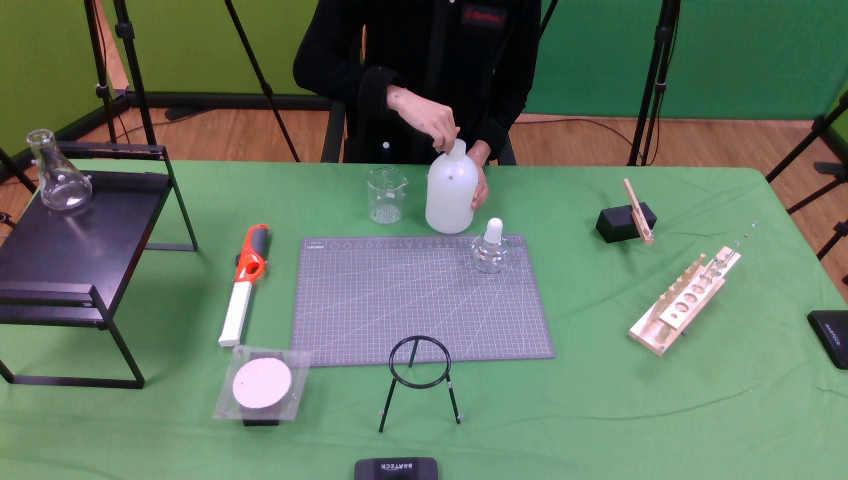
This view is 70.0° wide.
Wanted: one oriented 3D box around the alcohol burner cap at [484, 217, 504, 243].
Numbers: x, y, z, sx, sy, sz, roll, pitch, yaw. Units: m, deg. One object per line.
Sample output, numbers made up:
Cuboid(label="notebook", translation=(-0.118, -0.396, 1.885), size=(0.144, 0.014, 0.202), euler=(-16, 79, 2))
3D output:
Cuboid(label="alcohol burner cap", translation=(0.130, -0.021, 1.107), size=(0.034, 0.048, 0.033), euler=(4, 41, -3))

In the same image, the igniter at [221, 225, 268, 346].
Cuboid(label="igniter", translation=(-0.323, 0.072, 1.100), size=(0.057, 0.025, 0.274), euler=(-6, 45, 5))

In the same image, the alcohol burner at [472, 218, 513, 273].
Cuboid(label="alcohol burner", translation=(0.128, 0.005, 1.132), size=(0.078, 0.120, 0.077), euler=(0, 47, 0))

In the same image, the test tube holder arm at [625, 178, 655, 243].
Cuboid(label="test tube holder arm", translation=(0.433, -0.062, 1.220), size=(0.013, 0.015, 0.177), euler=(1, 47, -3))

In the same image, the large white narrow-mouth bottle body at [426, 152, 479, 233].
Cuboid(label="large white narrow-mouth bottle body", translation=(0.057, -0.111, 1.187), size=(0.102, 0.195, 0.101), euler=(2, 46, -2))

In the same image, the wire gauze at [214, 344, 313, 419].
Cuboid(label="wire gauze", translation=(-0.241, 0.213, 0.915), size=(0.121, 0.011, 0.124), euler=(5, 46, 1))

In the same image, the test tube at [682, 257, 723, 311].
Cuboid(label="test tube", translation=(0.475, 0.080, 1.037), size=(0.017, 0.151, 0.017), euler=(1, 50, -1))

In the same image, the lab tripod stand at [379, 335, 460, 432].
Cuboid(label="lab tripod stand", translation=(-0.011, 0.214, 0.911), size=(0.148, 0.132, 0.147), euler=(1, 45, 0))

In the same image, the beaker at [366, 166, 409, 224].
Cuboid(label="beaker", translation=(-0.074, -0.088, 1.222), size=(0.084, 0.101, 0.073), euler=(4, 46, -1))

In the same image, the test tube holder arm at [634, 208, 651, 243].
Cuboid(label="test tube holder arm", translation=(0.428, -0.030, 1.189), size=(0.010, 0.015, 0.087), euler=(1, 47, -2))

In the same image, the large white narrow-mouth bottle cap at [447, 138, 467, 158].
Cuboid(label="large white narrow-mouth bottle cap", translation=(0.061, -0.170, 1.123), size=(0.038, 0.024, 0.037), euler=(2, 46, -2))

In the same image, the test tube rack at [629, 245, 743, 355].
Cuboid(label="test tube rack", translation=(0.474, 0.095, 1.091), size=(0.242, 0.085, 0.066), euler=(-34, 56, -31))

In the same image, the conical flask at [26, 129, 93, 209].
Cuboid(label="conical flask", translation=(-0.575, -0.113, 0.946), size=(0.075, 0.122, 0.075), euler=(2, 46, -2))

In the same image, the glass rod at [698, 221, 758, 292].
Cuboid(label="glass rod", translation=(0.527, 0.035, 1.060), size=(0.008, 0.200, 0.008), euler=(5, 49, -6))
